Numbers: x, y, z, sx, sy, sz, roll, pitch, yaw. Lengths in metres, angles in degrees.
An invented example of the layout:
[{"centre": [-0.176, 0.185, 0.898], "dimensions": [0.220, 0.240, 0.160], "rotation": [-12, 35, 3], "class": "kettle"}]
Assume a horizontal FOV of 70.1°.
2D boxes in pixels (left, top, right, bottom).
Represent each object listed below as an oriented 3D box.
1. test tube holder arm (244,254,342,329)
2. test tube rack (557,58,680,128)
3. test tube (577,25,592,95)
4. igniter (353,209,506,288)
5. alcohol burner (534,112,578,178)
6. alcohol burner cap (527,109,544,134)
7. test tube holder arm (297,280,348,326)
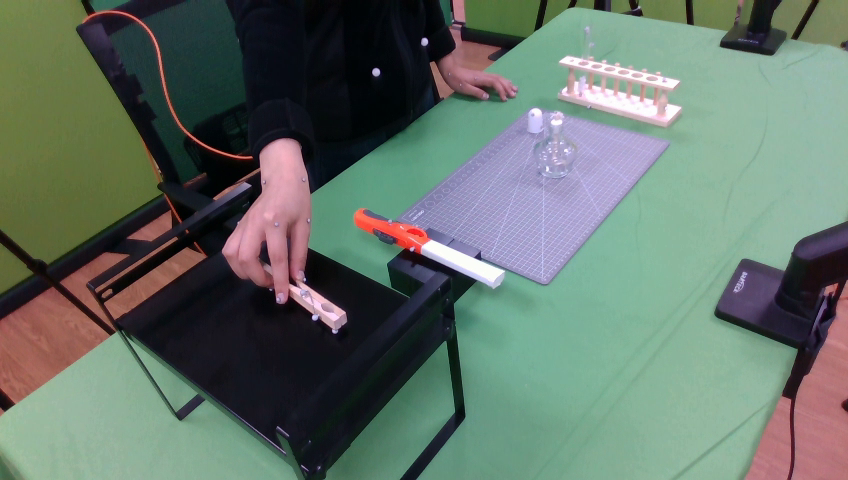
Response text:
[{"centre": [-0.147, 0.052, 0.659], "dimensions": [0.177, 0.015, 0.013], "rotation": [25, 37, 37], "class": "test tube holder arm"}, {"centre": [0.395, -0.309, 1.230], "dimensions": [0.240, 0.085, 0.067], "rotation": [25, 50, 33], "class": "test tube rack"}, {"centre": [0.325, -0.362, 1.226], "dimensions": [0.017, 0.151, 0.017], "rotation": [-3, 45, 4], "class": "test tube"}, {"centre": [-0.003, 0.006, 0.892], "dimensions": [0.274, 0.025, 0.057], "rotation": [24, 38, 31], "class": "igniter"}, {"centre": [0.232, -0.170, 1.066], "dimensions": [0.078, 0.119, 0.077], "rotation": [-5, 39, 5], "class": "alcohol burner"}, {"centre": [0.222, -0.238, 1.203], "dimensions": [0.034, 0.048, 0.033], "rotation": [-5, 40, 5], "class": "alcohol burner cap"}, {"centre": [-0.111, 0.065, 0.635], "dimensions": [0.087, 0.015, 0.010], "rotation": [26, 37, 38], "class": "test tube holder arm"}]
